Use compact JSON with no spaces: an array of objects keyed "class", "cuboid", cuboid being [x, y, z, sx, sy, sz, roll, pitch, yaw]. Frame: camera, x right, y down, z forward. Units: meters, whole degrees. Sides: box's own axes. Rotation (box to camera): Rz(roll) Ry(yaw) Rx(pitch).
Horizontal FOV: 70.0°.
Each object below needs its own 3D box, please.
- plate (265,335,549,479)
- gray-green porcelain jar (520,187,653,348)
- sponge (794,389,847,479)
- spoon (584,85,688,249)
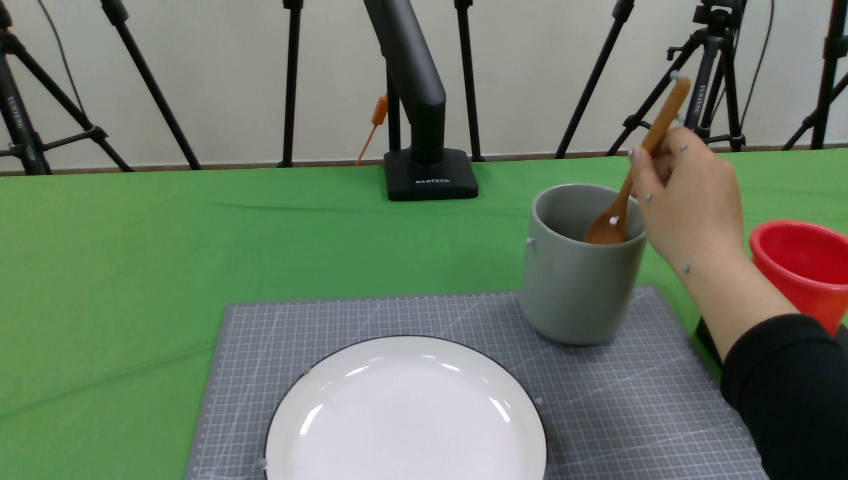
[{"class":"plate","cuboid":[-0.012,0.158,0.460,0.208,0.039,0.205,1,35,-1]},{"class":"gray-green porcelain jar","cuboid":[0.147,0.030,0.571,0.106,0.127,0.105,1,36,0]},{"class":"sponge","cuboid":[0.380,0.195,0.412,0.118,0.061,0.204,-4,36,-9]},{"class":"spoon","cuboid":[0.176,-0.043,0.512,0.022,0.195,0.041,-15,51,-21]}]
